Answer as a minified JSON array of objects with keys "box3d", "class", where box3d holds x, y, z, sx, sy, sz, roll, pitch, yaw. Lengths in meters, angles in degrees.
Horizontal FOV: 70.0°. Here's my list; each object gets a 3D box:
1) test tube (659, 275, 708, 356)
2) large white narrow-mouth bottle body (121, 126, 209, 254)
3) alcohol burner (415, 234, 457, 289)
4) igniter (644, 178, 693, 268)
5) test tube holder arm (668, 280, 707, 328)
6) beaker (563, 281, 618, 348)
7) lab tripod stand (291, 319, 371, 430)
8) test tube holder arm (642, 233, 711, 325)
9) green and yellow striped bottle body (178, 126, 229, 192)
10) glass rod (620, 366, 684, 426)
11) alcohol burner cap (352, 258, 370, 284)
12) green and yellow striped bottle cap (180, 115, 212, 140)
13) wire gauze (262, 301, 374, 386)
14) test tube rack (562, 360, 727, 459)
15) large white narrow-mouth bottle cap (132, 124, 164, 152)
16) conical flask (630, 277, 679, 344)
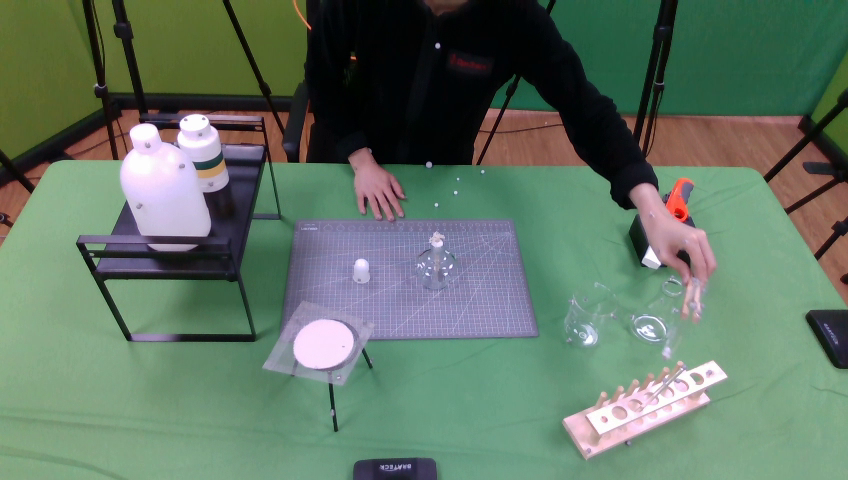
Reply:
[{"box3d":[0.363,0.110,0.853,0.017,0.151,0.017,6,37,-4],"class":"test tube"},{"box3d":[-0.378,-0.077,0.875,0.102,0.195,0.101,3,46,-3],"class":"large white narrow-mouth bottle body"},{"box3d":[0.022,0.033,1.100,0.078,0.120,0.077,1,47,0],"class":"alcohol burner"},{"box3d":[0.488,-0.042,1.204,0.057,0.025,0.276,30,51,10],"class":"igniter"},{"box3d":[0.372,0.087,0.858,0.015,0.010,0.087,19,37,-31],"class":"test tube holder arm"},{"box3d":[0.283,0.129,1.041,0.074,0.101,0.083,11,46,7],"class":"beaker"},{"box3d":[-0.146,0.194,0.923,0.148,0.132,0.147,1,47,-1],"class":"lab tripod stand"},{"box3d":[0.366,0.053,0.886,0.015,0.013,0.177,19,36,-31],"class":"test tube holder arm"},{"box3d":[-0.361,-0.142,0.989,0.063,0.120,0.063,2,46,-2],"class":"green and yellow striped bottle body"},{"box3d":[0.321,0.227,0.866,0.008,0.200,0.008,6,51,-7],"class":"glass rod"},{"box3d":[-0.117,0.055,1.118,0.034,0.048,0.033,1,45,-1],"class":"alcohol burner cap"},{"box3d":[-0.358,-0.177,0.951,0.045,0.020,0.045,1,45,-1],"class":"green and yellow striped bottle cap"},{"box3d":[-0.150,0.148,0.873,0.121,0.011,0.124,14,46,12],"class":"wire gauze"},{"box3d":[0.341,0.247,0.940,0.243,0.085,0.066,-16,49,-18],"class":"test tube rack"},{"box3d":[-0.370,-0.137,0.813,0.038,0.024,0.037,3,46,-3],"class":"large white narrow-mouth bottle cap"},{"box3d":[0.408,0.117,1.045,0.075,0.122,0.075,2,46,-2],"class":"conical flask"}]
